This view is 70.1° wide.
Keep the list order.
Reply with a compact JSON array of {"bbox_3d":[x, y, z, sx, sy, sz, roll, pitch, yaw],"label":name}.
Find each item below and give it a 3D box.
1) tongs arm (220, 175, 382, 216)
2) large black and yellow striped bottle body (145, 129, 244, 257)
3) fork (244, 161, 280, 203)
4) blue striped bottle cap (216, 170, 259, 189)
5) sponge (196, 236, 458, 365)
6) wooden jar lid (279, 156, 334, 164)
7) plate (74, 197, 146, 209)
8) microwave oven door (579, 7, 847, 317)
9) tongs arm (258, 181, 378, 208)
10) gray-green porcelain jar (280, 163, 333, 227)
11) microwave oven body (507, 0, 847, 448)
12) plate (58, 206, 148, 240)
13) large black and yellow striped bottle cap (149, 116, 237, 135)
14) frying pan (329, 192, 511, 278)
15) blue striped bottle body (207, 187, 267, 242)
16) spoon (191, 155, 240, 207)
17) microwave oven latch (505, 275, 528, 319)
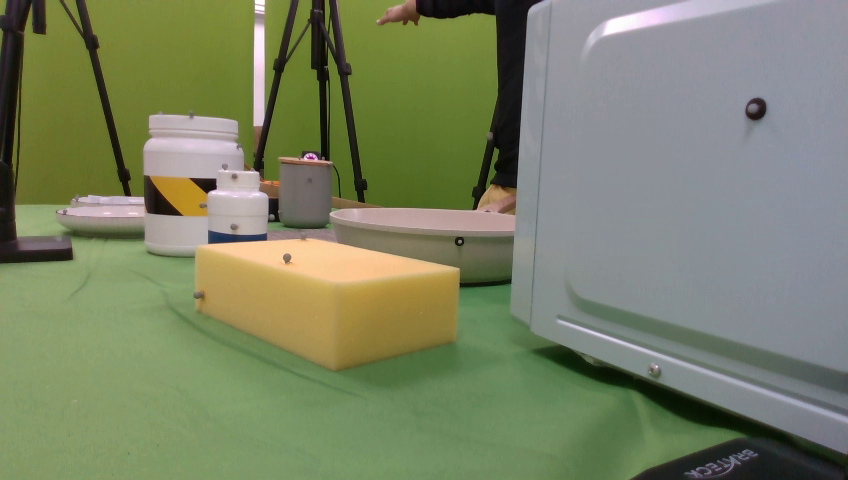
[{"bbox_3d":[-0.286,-0.105,1.446,0.389,0.027,0.028,10,-3,-23],"label":"tongs arm"},{"bbox_3d":[-0.320,-0.075,0.851,0.131,0.184,0.130,2,8,0],"label":"large black and yellow striped bottle body"},{"bbox_3d":[-0.398,-0.144,1.489,0.028,0.018,0.208,23,-23,47],"label":"fork"},{"bbox_3d":[-0.201,-0.066,0.654,0.044,0.020,0.044,0,5,0],"label":"blue striped bottle cap"},{"bbox_3d":[-0.087,0.039,0.500,0.206,0.061,0.119,8,10,44],"label":"sponge"},{"bbox_3d":[-0.237,-0.154,1.213,0.108,0.020,0.108,6,9,-1],"label":"wooden jar lid"},{"bbox_3d":[-0.596,-0.062,1.238,0.208,0.039,0.207,2,8,0],"label":"plate"},{"bbox_3d":[0.294,-0.067,0.570,0.358,0.243,0.039,-3,9,-31],"label":"microwave oven door"},{"bbox_3d":[-0.242,-0.094,1.374,0.387,0.026,0.050,9,0,-38],"label":"tongs arm"},{"bbox_3d":[-0.238,-0.092,1.221,0.106,0.126,0.106,1,7,0],"label":"gray-green porcelain jar"},{"bbox_3d":[0.331,-0.042,0.425,0.444,0.260,0.324,-2,8,-31],"label":"microwave oven body"},{"bbox_3d":[-0.496,-0.030,1.021,0.209,0.038,0.209,2,8,0],"label":"plate"},{"bbox_3d":[-0.319,-0.158,0.841,0.115,0.019,0.115,3,6,0],"label":"large black and yellow striped bottle cap"},{"bbox_3d":[0.071,-0.030,0.884,0.305,0.102,0.490,7,17,27],"label":"frying pan"},{"bbox_3d":[-0.204,-0.016,0.661,0.063,0.120,0.063,2,7,0],"label":"blue striped bottle body"},{"bbox_3d":[-0.489,-0.135,1.417,0.041,0.021,0.194,2,-35,19],"label":"spoon"},{"bbox_3d":[0.100,0.042,0.471,0.079,0.029,0.030,-1,7,-28],"label":"microwave oven latch"}]
